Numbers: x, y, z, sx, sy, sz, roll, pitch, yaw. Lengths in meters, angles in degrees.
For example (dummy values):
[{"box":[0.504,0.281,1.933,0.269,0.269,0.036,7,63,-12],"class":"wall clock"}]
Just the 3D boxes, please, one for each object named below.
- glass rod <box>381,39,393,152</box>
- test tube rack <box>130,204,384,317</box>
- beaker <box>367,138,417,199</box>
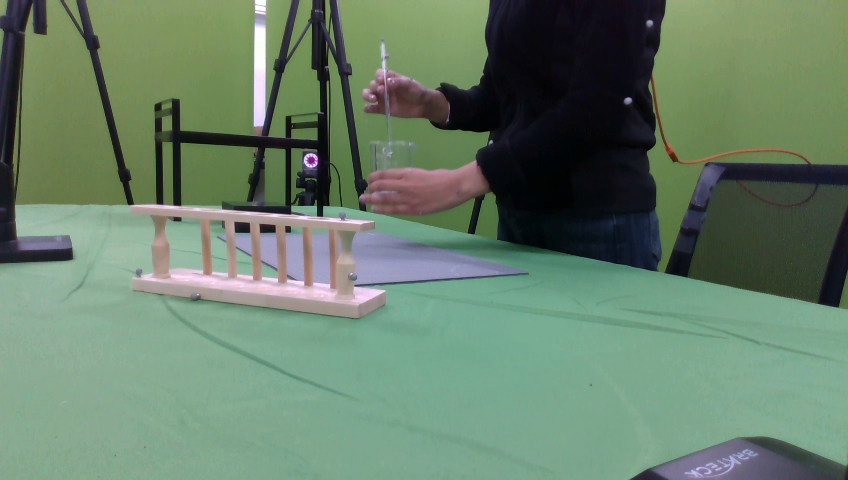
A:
[{"box":[-0.061,-0.245,1.017,0.008,0.199,0.008,-5,-8,0],"class":"glass rod"},{"box":[-0.163,0.013,0.589,0.242,0.085,0.067,5,8,17],"class":"test tube rack"},{"box":[-0.052,-0.120,1.007,0.084,0.100,0.074,-3,11,-14],"class":"beaker"}]
